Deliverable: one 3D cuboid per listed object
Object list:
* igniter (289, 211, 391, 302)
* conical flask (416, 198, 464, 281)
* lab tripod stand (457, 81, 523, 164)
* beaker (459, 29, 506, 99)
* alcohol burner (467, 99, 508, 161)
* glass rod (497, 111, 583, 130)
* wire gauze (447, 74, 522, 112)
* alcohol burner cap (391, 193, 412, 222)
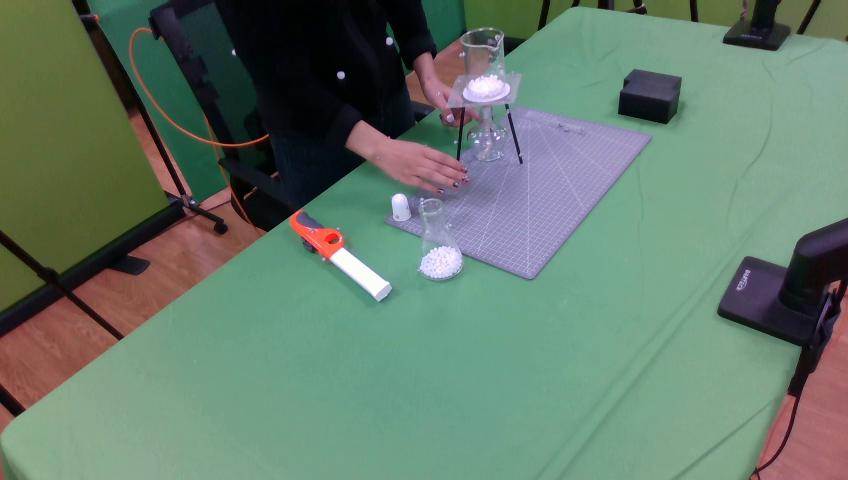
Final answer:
[{"bbox_3d":[-0.146,0.019,0.985,0.057,0.025,0.274,-40,48,-17],"label":"igniter"},{"bbox_3d":[0.019,-0.004,0.907,0.075,0.122,0.075,-5,40,5],"label":"conical flask"},{"bbox_3d":[0.120,-0.219,1.130,0.148,0.132,0.147,-7,39,6],"label":"lab tripod stand"},{"bbox_3d":[0.107,-0.305,1.056,0.074,0.101,0.083,-27,43,-18],"label":"beaker"},{"bbox_3d":[0.119,-0.210,1.134,0.078,0.119,0.077,-4,39,4],"label":"alcohol burner"},{"bbox_3d":[0.233,-0.245,1.235,0.198,0.008,0.008,20,49,34],"label":"glass rod"},{"bbox_3d":[0.110,-0.268,1.087,0.121,0.011,0.125,1,42,15],"label":"wire gauze"},{"bbox_3d":[-0.041,-0.058,1.040,0.034,0.048,0.033,-6,41,5],"label":"alcohol burner cap"}]
